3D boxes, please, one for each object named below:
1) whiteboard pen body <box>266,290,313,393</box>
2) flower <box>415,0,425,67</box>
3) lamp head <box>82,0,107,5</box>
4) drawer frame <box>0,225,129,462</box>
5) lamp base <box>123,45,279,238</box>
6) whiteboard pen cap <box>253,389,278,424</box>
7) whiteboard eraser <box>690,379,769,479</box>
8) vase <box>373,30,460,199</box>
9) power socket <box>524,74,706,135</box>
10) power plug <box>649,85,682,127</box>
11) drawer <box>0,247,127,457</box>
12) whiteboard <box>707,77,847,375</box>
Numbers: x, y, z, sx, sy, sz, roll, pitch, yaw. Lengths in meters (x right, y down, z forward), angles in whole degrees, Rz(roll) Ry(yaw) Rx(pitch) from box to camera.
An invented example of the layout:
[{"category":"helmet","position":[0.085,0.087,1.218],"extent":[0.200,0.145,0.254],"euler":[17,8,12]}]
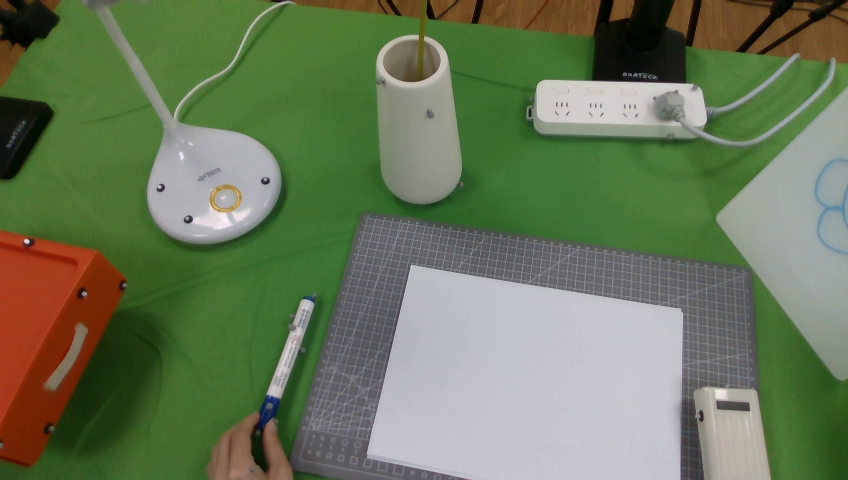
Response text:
[{"category":"whiteboard pen body","position":[-0.145,0.117,0.636],"extent":[0.017,0.017,0.140],"euler":[11,61,8]},{"category":"flower","position":[-0.004,-0.184,0.600],"extent":[0.038,0.365,0.043],"euler":[-2,43,-6]},{"category":"lamp head","position":[-0.235,-0.243,0.415],"extent":[0.123,0.112,0.112],"euler":[47,68,-17]},{"category":"drawer frame","position":[-0.440,0.085,0.585],"extent":[0.213,0.083,0.200],"euler":[12,64,6]},{"category":"lamp base","position":[-0.270,-0.117,0.678],"extent":[0.160,0.182,0.178],"euler":[-42,65,-19]},{"category":"whiteboard pen cap","position":[-0.159,0.166,0.608],"extent":[0.018,0.018,0.033],"euler":[9,61,8]},{"category":"whiteboard eraser","position":[0.286,0.189,0.570],"extent":[0.055,0.042,0.112],"euler":[4,62,2]},{"category":"vase","position":[-0.011,-0.130,0.665],"extent":[0.098,0.201,0.097],"euler":[-2,61,3]},{"category":"power socket","position":[0.243,-0.173,0.772],"extent":[0.226,0.033,0.071],"euler":[3,63,3]},{"category":"power plug","position":[0.291,-0.156,0.735],"extent":[0.035,0.053,0.072],"euler":[12,65,9]},{"category":"drawer","position":[-0.434,0.084,0.583],"extent":[0.211,0.074,0.193],"euler":[11,64,8]},{"category":"whiteboard","position":[0.475,-0.045,0.575],"extent":[0.144,0.307,0.215],"euler":[-11,60,-25]}]
